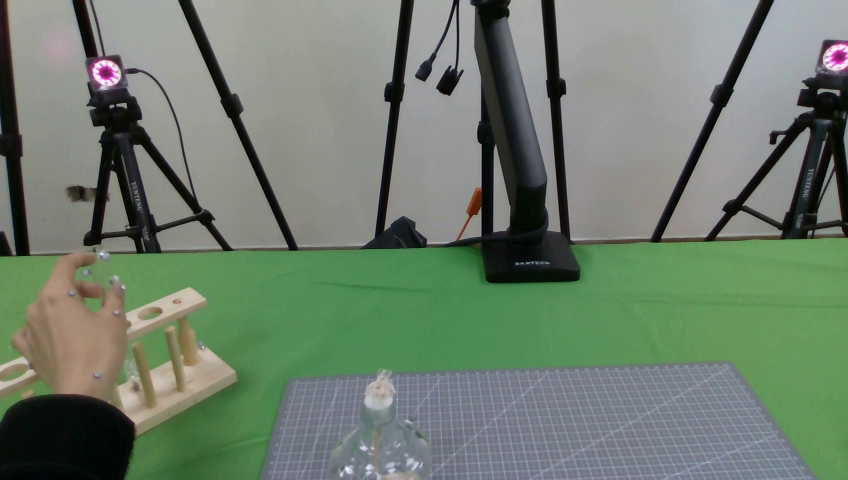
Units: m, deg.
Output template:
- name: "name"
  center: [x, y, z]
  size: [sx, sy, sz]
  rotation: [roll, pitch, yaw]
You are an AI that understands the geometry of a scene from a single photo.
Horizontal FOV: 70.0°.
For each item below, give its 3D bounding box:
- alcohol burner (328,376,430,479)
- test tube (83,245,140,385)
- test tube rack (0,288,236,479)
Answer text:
- name: "alcohol burner"
  center: [-0.034, 0.152, 0.454]
  size: [0.078, 0.120, 0.077]
  rotation: [-1, 26, 1]
- name: "test tube"
  center: [-0.278, 0.072, 0.546]
  size: [0.017, 0.151, 0.017]
  rotation: [0, 30, 0]
- name: "test tube rack"
  center: [-0.298, 0.136, 0.534]
  size: [0.066, 0.086, 0.243]
  rotation: [24, 36, 39]
